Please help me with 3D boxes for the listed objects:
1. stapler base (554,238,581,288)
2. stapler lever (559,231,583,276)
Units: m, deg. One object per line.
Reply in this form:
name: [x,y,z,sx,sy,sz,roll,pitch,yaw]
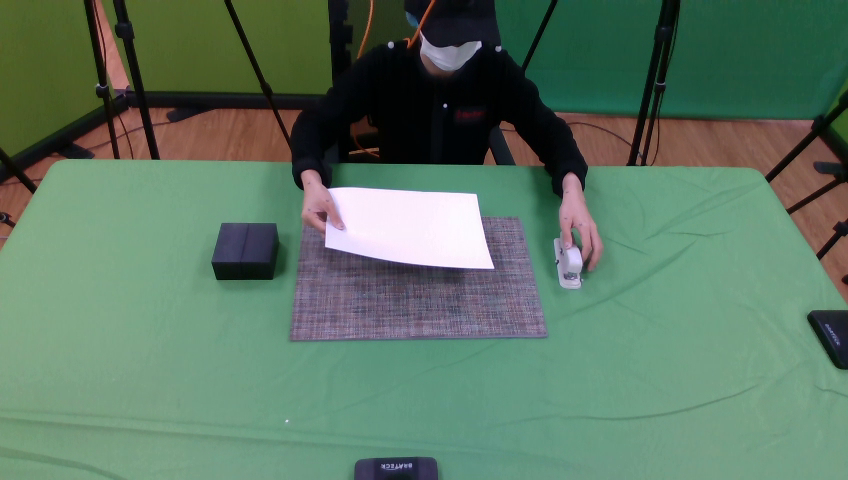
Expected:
stapler base: [0.281,0.038,1.181,0.041,0.024,0.130,5,44,-2]
stapler lever: [0.282,0.018,1.165,0.027,0.040,0.117,5,44,-2]
